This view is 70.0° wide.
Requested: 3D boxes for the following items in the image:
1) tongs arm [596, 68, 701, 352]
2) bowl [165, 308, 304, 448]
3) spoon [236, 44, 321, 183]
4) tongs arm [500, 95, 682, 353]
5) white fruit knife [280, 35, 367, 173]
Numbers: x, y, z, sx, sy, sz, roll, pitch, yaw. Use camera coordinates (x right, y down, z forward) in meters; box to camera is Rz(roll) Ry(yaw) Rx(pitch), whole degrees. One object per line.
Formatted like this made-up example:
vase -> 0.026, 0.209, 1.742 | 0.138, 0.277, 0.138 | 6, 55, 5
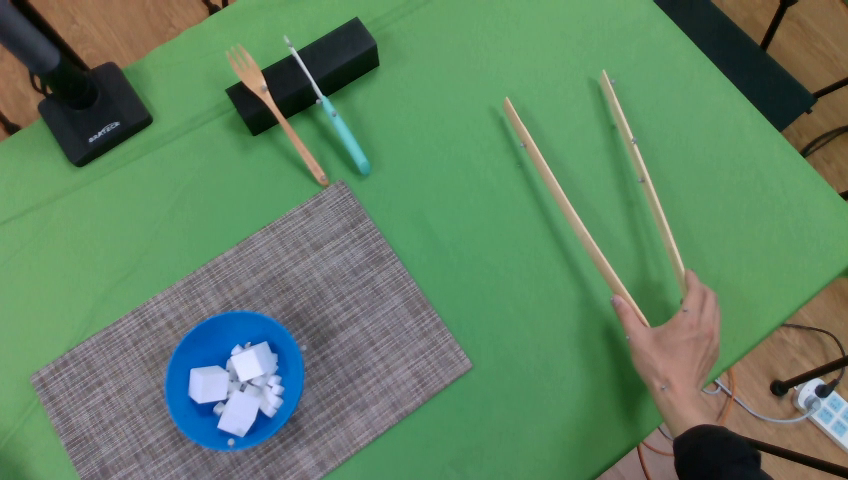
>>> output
tongs arm -> 0.265, -0.052, 0.759 | 0.051, 0.027, 0.381 | -13, 69, -7
bowl -> -0.206, 0.159, 0.696 | 0.151, 0.077, 0.150 | 0, 74, 0
spoon -> -0.186, -0.160, 0.781 | 0.041, 0.021, 0.194 | -24, 97, 16
tongs arm -> 0.192, -0.029, 0.750 | 0.028, 0.028, 0.384 | -23, 70, -15
white fruit knife -> -0.133, -0.179, 0.792 | 0.016, 0.027, 0.207 | -33, 91, -14
